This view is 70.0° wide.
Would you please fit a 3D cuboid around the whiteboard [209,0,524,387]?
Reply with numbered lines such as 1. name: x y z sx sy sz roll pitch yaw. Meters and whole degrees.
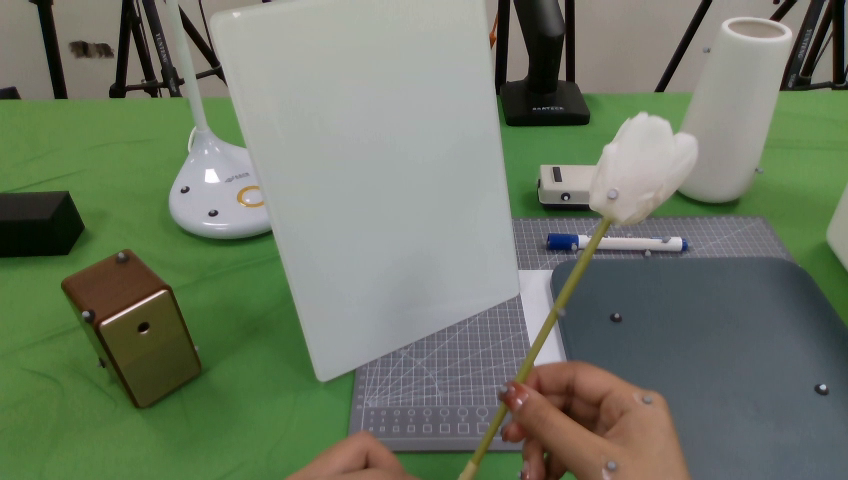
1. whiteboard: -0.052 -0.065 0.555 0.217 0.307 0.142 -21 24 -21

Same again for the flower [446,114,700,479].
1. flower: 0.043 0.093 0.341 0.043 0.038 0.362 33 96 33

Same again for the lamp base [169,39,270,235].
1. lamp base: -0.229 -0.123 0.679 0.177 0.182 0.160 28 47 33

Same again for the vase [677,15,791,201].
1. vase: 0.343 -0.142 0.683 0.098 0.202 0.097 1 40 0

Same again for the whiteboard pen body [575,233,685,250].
1. whiteboard pen body: 0.209 0.001 0.651 0.141 0.017 0.017 1 40 3

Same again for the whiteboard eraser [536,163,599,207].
1. whiteboard eraser: 0.190 -0.064 0.714 0.112 0.042 0.055 0 38 2

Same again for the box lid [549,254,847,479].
1. box lid: 0.256 0.138 0.492 0.263 0.015 0.367 -1 40 0

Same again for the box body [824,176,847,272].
1. box body: 0.544 0.042 0.489 0.254 0.162 0.360 0 40 2

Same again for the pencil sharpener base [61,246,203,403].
1. pencil sharpener base: -0.241 0.070 0.506 0.076 0.108 0.061 31 50 33

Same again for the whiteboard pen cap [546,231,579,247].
1. whiteboard pen cap: 0.150 0.000 0.653 0.033 0.018 0.018 4 40 1

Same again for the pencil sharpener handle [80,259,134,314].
1. pencil sharpener handle: -0.277 0.037 0.526 0.030 0.068 0.036 31 58 33
